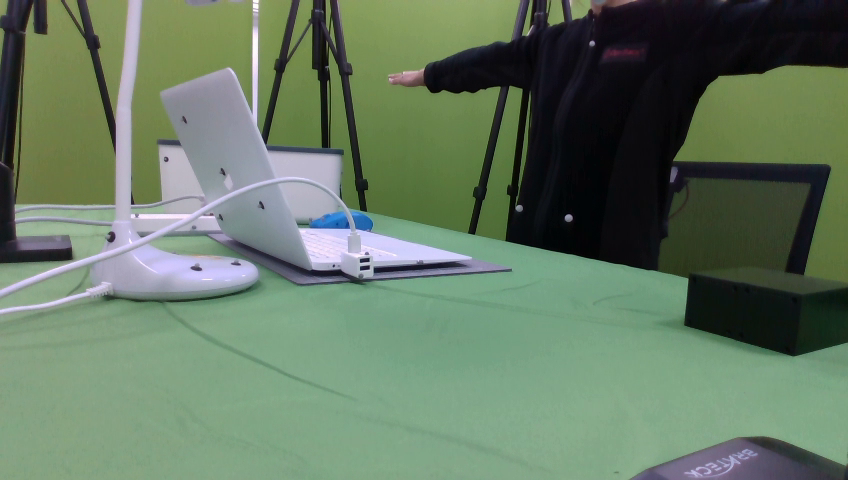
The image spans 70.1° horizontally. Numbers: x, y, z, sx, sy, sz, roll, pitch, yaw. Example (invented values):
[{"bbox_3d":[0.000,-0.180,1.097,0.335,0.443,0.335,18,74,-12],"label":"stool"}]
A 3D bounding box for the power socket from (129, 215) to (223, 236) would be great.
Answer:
[{"bbox_3d":[-0.397,-0.028,1.048,0.228,0.032,0.072,-3,7,-35],"label":"power socket"}]

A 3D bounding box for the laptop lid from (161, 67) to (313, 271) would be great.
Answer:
[{"bbox_3d":[-0.255,-0.090,0.782,0.013,0.242,0.355,-29,24,-28],"label":"laptop lid"}]

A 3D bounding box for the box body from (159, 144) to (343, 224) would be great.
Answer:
[{"bbox_3d":[-0.364,-0.128,1.337,0.365,0.160,0.253,1,7,-8],"label":"box body"}]

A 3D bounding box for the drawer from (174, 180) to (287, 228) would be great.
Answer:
[{"bbox_3d":[-0.413,-0.080,1.325,0.212,0.073,0.194,-8,11,-8],"label":"drawer"}]

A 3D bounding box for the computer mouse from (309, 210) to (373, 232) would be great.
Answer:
[{"bbox_3d":[-0.157,-0.034,1.139,0.118,0.041,0.062,-6,12,-28],"label":"computer mouse"}]

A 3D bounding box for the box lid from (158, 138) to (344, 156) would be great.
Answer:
[{"bbox_3d":[-0.363,-0.201,1.328,0.372,0.015,0.262,2,7,-8],"label":"box lid"}]

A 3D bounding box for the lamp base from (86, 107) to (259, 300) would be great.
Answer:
[{"bbox_3d":[-0.255,-0.039,0.603,0.160,0.180,0.179,4,10,18],"label":"lamp base"}]

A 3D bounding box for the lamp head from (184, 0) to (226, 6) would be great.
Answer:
[{"bbox_3d":[-0.229,-0.320,0.627,0.112,0.112,0.123,6,-35,26],"label":"lamp head"}]

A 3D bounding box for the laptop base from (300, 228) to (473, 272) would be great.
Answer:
[{"bbox_3d":[-0.124,0.011,0.889,0.237,0.023,0.352,1,7,-35],"label":"laptop base"}]

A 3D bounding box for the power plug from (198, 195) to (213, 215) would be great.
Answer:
[{"bbox_3d":[-0.386,-0.055,1.088,0.035,0.052,0.072,-2,7,-24],"label":"power plug"}]

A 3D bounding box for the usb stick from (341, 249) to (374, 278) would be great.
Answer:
[{"bbox_3d":[-0.079,0.026,0.687,0.021,0.027,0.059,-7,9,-30],"label":"usb stick"}]
